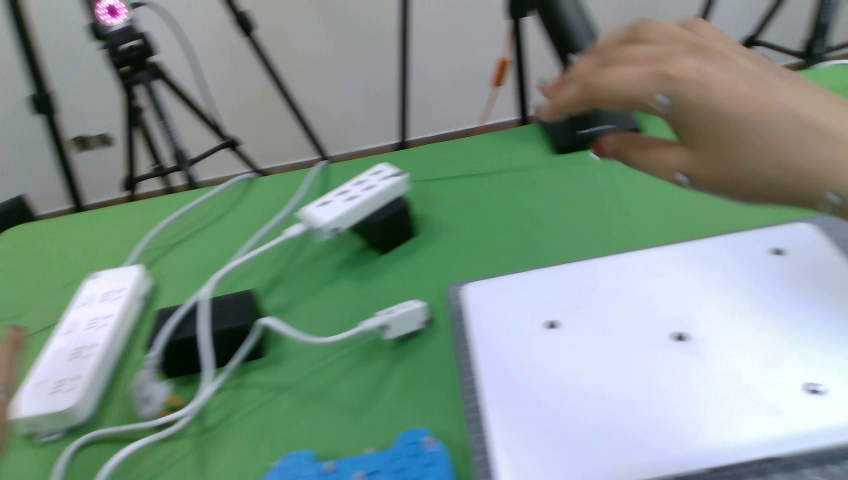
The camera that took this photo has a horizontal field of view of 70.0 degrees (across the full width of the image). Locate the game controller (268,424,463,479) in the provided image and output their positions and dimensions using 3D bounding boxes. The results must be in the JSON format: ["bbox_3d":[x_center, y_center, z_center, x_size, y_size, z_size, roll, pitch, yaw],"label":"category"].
[{"bbox_3d":[-0.045,0.189,0.451,0.155,0.052,0.096,-10,34,2],"label":"game controller"}]

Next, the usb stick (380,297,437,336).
[{"bbox_3d":[-0.013,0.073,0.597,0.059,0.027,0.021,-12,13,-37],"label":"usb stick"}]

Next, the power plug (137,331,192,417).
[{"bbox_3d":[-0.233,0.128,0.563,0.072,0.053,0.035,-62,24,-11],"label":"power plug"}]

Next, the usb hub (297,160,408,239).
[{"bbox_3d":[-0.080,-0.048,0.695,0.125,0.025,0.049,-35,45,-26],"label":"usb hub"}]

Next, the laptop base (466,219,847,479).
[{"bbox_3d":[0.224,0.089,0.527,0.354,0.023,0.233,-11,42,1],"label":"laptop base"}]

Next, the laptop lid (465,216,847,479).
[{"bbox_3d":[0.222,0.082,0.518,0.357,0.013,0.239,-10,40,3],"label":"laptop lid"}]

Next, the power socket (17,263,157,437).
[{"bbox_3d":[-0.352,0.104,0.650,0.072,0.033,0.224,-8,38,3],"label":"power socket"}]
